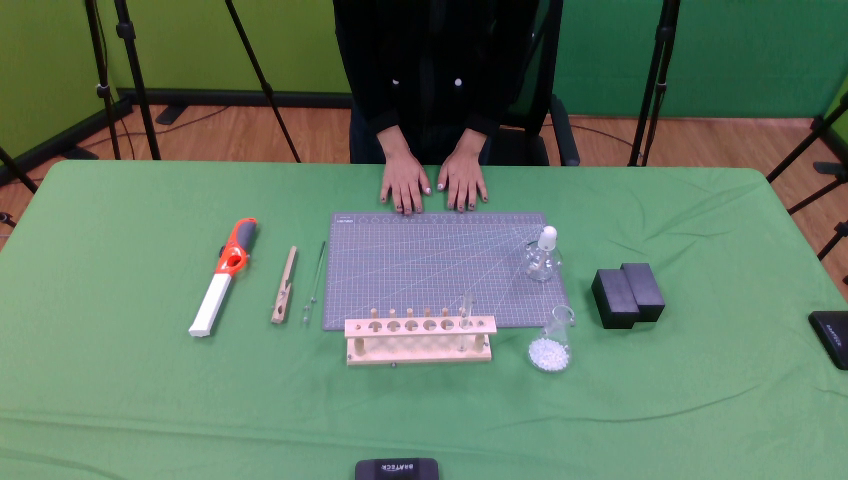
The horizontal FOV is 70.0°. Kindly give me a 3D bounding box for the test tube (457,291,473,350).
[{"bbox_3d":[0.064,0.132,0.965,0.017,0.151,0.017,1,48,-1],"label":"test tube"}]

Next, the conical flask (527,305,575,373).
[{"bbox_3d":[0.215,0.157,0.996,0.075,0.122,0.075,2,46,-2],"label":"conical flask"}]

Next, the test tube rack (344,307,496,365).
[{"bbox_3d":[-0.009,0.154,1.007,0.242,0.085,0.066,-1,46,-5],"label":"test tube rack"}]

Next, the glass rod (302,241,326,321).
[{"bbox_3d":[-0.203,0.071,1.124,0.008,0.008,0.198,4,44,1],"label":"glass rod"}]

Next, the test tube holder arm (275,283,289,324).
[{"bbox_3d":[-0.254,0.111,1.077,0.010,0.015,0.087,30,38,-27],"label":"test tube holder arm"}]

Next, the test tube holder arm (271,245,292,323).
[{"bbox_3d":[-0.259,0.076,1.106,0.013,0.015,0.177,29,38,-28],"label":"test tube holder arm"}]

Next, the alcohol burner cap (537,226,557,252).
[{"bbox_3d":[0.226,-0.004,1.104,0.034,0.048,0.033,0,50,1],"label":"alcohol burner cap"}]

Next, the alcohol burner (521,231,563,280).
[{"bbox_3d":[0.224,0.020,1.131,0.078,0.119,0.077,4,46,-4],"label":"alcohol burner"}]

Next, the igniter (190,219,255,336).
[{"bbox_3d":[-0.365,0.058,1.110,0.057,0.025,0.275,-1,45,8],"label":"igniter"}]
